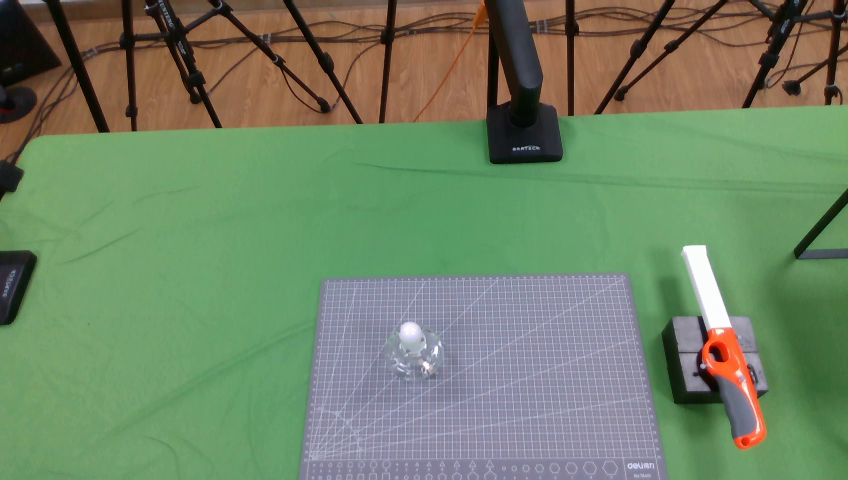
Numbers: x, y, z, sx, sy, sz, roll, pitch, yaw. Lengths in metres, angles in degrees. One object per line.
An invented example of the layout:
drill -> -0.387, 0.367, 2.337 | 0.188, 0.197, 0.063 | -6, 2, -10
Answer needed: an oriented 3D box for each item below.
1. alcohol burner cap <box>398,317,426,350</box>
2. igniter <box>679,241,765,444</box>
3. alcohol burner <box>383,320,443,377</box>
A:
alcohol burner cap -> -0.017, 0.113, 0.744 | 0.034, 0.048, 0.033 | -3, 63, 7
igniter -> 0.372, 0.118, 0.765 | 0.057, 0.025, 0.274 | -2, 55, 2
alcohol burner -> -0.015, 0.131, 0.775 | 0.078, 0.120, 0.077 | 0, 58, 1
